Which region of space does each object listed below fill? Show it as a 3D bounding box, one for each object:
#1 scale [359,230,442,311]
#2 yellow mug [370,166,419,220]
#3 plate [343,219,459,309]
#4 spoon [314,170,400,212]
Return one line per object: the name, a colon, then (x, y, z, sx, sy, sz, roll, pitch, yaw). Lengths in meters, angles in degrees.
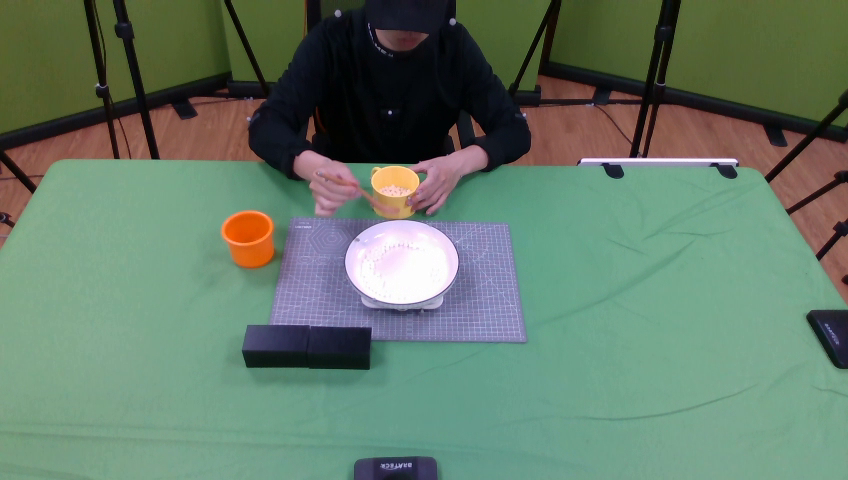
scale: (-0.043, 0.048, 1.138, 0.149, 0.032, 0.199, 2, 46, -3)
yellow mug: (-0.073, -0.108, 1.267, 0.100, 0.064, 0.130, -30, 53, -30)
plate: (-0.041, 0.046, 1.094, 0.209, 0.038, 0.208, 2, 46, -2)
spoon: (-0.117, -0.087, 1.080, 0.041, 0.195, 0.021, 30, 91, 49)
